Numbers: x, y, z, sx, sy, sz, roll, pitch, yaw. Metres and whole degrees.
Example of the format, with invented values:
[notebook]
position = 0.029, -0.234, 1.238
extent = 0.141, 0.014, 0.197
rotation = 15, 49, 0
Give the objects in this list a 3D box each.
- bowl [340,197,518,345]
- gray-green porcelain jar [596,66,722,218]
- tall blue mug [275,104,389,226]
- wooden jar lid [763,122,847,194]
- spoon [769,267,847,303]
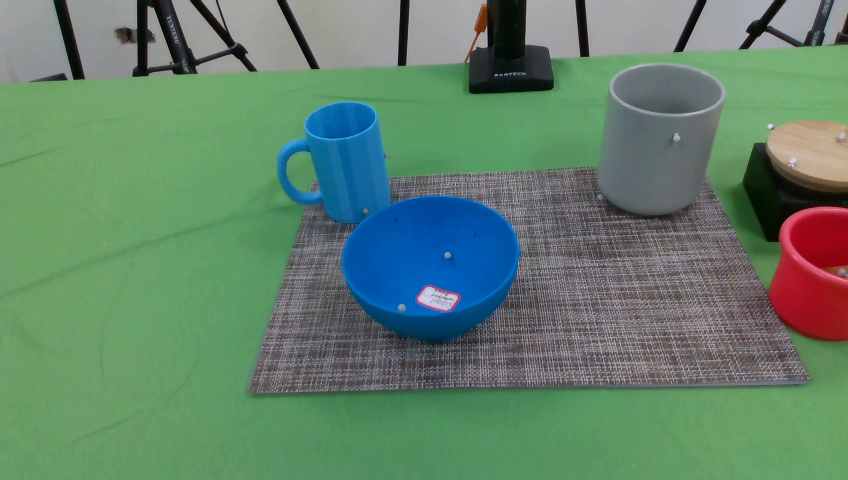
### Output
[bowl]
position = 0.007, 0.038, 0.530
extent = 0.151, 0.077, 0.150
rotation = -3, 41, 3
[gray-green porcelain jar]
position = 0.232, -0.095, 0.616
extent = 0.106, 0.128, 0.105
rotation = -3, 42, 3
[tall blue mug]
position = -0.094, -0.072, 0.643
extent = 0.107, 0.109, 0.077
rotation = -33, 49, -27
[wooden jar lid]
position = 0.388, -0.079, 0.590
extent = 0.108, 0.021, 0.107
rotation = -4, 41, 4
[spoon]
position = 0.368, 0.016, 0.467
extent = 0.022, 0.193, 0.041
rotation = 49, 49, -9
